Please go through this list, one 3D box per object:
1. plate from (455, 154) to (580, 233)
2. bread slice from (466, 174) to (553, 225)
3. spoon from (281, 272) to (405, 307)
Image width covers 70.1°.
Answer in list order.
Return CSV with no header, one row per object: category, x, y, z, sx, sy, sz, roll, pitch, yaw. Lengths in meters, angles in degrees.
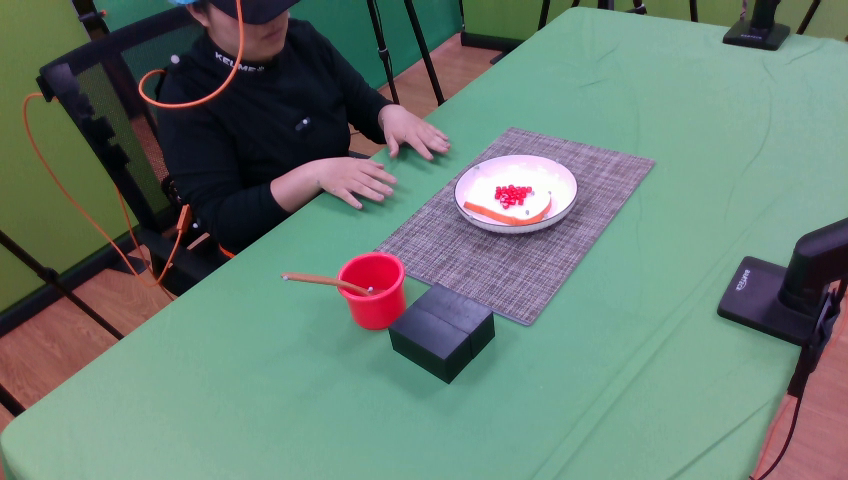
plate,0.158,-0.076,1.028,0.209,0.038,0.208,-5,40,5
bread slice,0.152,-0.067,1.022,0.130,0.019,0.105,22,50,33
spoon,-0.108,0.065,0.836,0.195,0.021,0.041,20,23,-37
